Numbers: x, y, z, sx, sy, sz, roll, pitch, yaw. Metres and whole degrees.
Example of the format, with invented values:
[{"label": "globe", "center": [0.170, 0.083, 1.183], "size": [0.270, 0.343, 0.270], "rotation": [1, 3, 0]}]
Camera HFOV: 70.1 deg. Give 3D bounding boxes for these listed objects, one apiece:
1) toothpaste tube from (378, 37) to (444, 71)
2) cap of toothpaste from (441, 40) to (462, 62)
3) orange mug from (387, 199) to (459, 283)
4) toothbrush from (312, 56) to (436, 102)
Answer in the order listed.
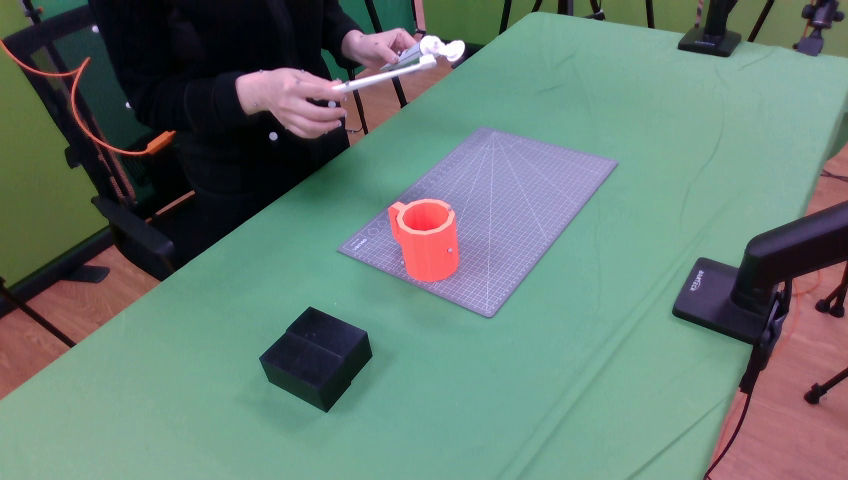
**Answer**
[{"label": "toothpaste tube", "center": [-0.018, -0.301, 0.999], "size": [0.055, 0.034, 0.164], "rotation": [-8, 5, -29]}, {"label": "cap of toothpaste", "center": [0.043, -0.293, 0.933], "size": [0.037, 0.011, 0.037], "rotation": [-14, 66, 36]}, {"label": "orange mug", "center": [-0.006, -0.007, 0.923], "size": [0.125, 0.101, 0.084], "rotation": [32, 54, 32]}, {"label": "toothbrush", "center": [-0.072, -0.226, 0.851], "size": [0.182, 0.014, 0.016], "rotation": [-16, 72, 3]}]
